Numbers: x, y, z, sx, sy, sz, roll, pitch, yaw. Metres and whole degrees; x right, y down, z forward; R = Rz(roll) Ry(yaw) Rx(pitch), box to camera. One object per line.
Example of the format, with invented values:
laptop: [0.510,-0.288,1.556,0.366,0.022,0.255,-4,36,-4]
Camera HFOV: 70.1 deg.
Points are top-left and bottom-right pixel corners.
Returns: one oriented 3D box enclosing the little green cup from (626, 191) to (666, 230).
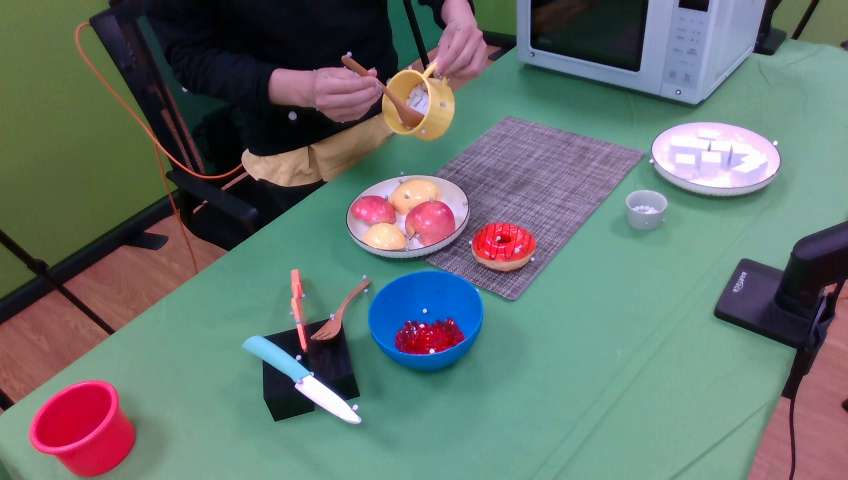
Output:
little green cup: [0.352,-0.046,0.963,0.061,0.039,0.061,-4,40,4]

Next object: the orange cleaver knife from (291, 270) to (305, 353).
orange cleaver knife: [-0.175,0.094,0.844,0.012,0.077,0.210,-11,14,-10]

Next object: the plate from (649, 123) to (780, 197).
plate: [0.497,-0.135,1.046,0.207,0.039,0.206,-4,40,4]

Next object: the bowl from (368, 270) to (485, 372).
bowl: [0.007,0.118,0.791,0.151,0.077,0.150,-5,40,4]

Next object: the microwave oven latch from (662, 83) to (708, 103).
microwave oven latch: [0.518,-0.296,1.204,0.078,0.029,0.030,28,52,35]

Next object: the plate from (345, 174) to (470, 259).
plate: [-0.026,-0.036,1.004,0.209,0.038,0.208,-4,40,4]

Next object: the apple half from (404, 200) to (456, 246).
apple half: [0.009,-0.035,0.969,0.075,0.053,0.080,-27,40,-22]

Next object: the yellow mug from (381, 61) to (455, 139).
yellow mug: [-0.002,-0.227,0.958,0.099,0.130,0.064,48,26,26]

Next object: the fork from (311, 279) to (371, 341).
fork: [-0.108,0.092,0.832,0.028,0.019,0.207,-6,19,15]

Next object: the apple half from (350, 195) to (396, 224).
apple half: [-0.081,-0.056,1.008,0.081,0.033,0.081,11,24,-4]

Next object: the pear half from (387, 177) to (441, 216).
pear half: [-0.029,-0.079,1.033,0.109,0.056,0.076,-3,35,16]

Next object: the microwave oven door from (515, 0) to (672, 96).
microwave oven door: [0.343,-0.455,1.259,0.353,0.245,0.039,26,51,33]

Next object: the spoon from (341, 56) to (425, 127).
spoon: [-0.056,-0.218,0.902,0.041,0.195,0.021,-13,59,34]

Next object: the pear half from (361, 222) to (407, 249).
pear half: [-0.063,-0.012,0.958,0.071,0.031,0.087,2,25,-25]

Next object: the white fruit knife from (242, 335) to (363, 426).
white fruit knife: [-0.148,0.167,0.730,0.206,0.016,0.027,26,80,31]

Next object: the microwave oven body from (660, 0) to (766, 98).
microwave oven body: [0.472,-0.513,1.317,0.438,0.261,0.327,26,51,34]

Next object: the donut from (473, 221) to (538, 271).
donut: [0.123,0.008,0.923,0.099,0.048,0.098,-3,38,3]
